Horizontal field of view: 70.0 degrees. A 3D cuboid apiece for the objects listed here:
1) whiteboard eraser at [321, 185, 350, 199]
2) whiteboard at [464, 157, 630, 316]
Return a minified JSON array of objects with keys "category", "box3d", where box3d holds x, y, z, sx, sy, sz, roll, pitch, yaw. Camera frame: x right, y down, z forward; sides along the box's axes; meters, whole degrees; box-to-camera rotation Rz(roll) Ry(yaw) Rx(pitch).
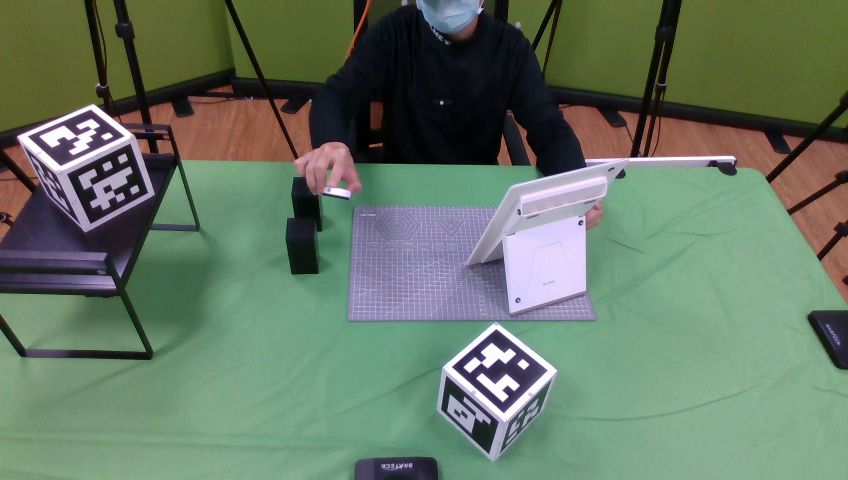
[{"category":"whiteboard eraser","box3d":[-0.157,-0.085,1.066,0.041,0.019,0.101,13,-1,-18]},{"category":"whiteboard","box3d":[0.224,0.015,1.043,0.217,0.306,0.143,-14,68,-17]}]
